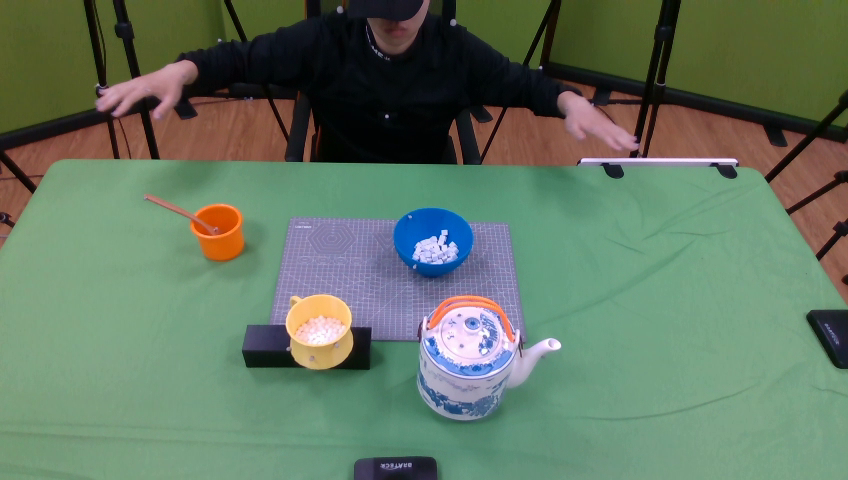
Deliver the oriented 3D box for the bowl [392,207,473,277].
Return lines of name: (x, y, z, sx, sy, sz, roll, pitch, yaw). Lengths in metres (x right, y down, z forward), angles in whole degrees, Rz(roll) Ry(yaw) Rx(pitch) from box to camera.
bowl: (0.014, 0.016, 1.140, 0.151, 0.077, 0.150, 2, 46, -2)

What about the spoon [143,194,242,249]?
spoon: (-0.421, -0.036, 1.112, 0.021, 0.195, 0.041, -35, 38, 24)

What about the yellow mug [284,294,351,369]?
yellow mug: (-0.175, 0.134, 0.955, 0.100, 0.064, 0.130, -33, 56, -31)

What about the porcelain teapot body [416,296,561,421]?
porcelain teapot body: (0.094, 0.164, 0.907, 0.205, 0.226, 0.144, 6, 45, 1)

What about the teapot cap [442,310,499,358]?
teapot cap: (0.068, 0.133, 0.880, 0.085, 0.044, 0.084, 4, 45, -4)
